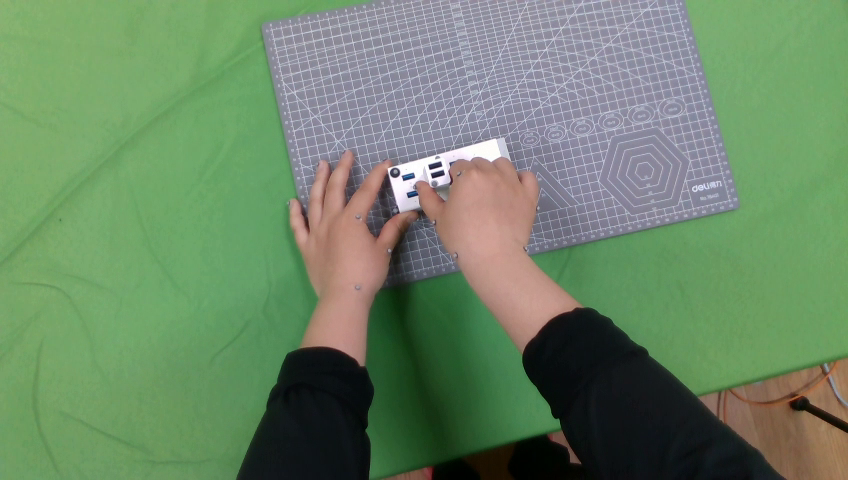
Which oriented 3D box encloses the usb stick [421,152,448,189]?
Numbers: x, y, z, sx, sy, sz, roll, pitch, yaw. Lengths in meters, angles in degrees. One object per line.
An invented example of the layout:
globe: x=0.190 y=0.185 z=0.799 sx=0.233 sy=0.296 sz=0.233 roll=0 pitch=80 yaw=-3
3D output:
usb stick: x=0.010 y=-0.066 z=0.589 sx=0.021 sy=0.059 sz=0.027 roll=-18 pitch=83 yaw=0

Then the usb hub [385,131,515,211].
usb hub: x=0.026 y=-0.071 z=0.619 sx=0.125 sy=0.025 sz=0.049 roll=-16 pitch=86 yaw=-3
